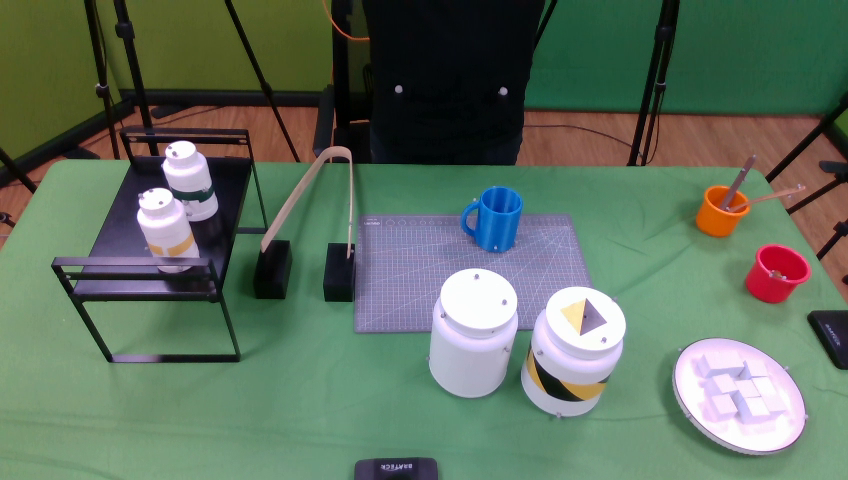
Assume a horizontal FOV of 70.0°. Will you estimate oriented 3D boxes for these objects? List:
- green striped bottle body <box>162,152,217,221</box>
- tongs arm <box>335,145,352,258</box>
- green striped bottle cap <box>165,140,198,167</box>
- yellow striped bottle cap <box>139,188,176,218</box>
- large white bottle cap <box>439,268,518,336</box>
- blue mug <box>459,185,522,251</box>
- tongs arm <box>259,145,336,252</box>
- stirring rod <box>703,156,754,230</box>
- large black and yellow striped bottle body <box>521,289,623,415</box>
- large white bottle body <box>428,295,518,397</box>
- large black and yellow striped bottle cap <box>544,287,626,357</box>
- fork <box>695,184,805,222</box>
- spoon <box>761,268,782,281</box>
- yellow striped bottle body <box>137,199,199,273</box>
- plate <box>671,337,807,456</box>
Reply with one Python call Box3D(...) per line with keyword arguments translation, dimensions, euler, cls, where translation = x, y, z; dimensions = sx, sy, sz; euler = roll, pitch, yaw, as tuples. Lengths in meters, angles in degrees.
Box3D(translation=(-0.363, -0.092, 0.939), dimensions=(0.063, 0.120, 0.063), euler=(2, 46, -2), cls="green striped bottle body")
Box3D(translation=(-0.169, -0.092, 1.234), dimensions=(0.051, 0.026, 0.382), euler=(0, 37, -3), cls="tongs arm")
Box3D(translation=(-0.361, -0.129, 0.902), dimensions=(0.044, 0.020, 0.044), euler=(3, 48, -3), cls="green striped bottle cap")
Box3D(translation=(-0.363, -0.051, 0.826), dimensions=(0.044, 0.019, 0.044), euler=(1, 47, -1), cls="yellow striped bottle cap")
Box3D(translation=(0.080, 0.089, 0.888), dimensions=(0.115, 0.018, 0.114), euler=(2, 47, -2), cls="large white bottle cap")
Box3D(translation=(0.127, -0.042, 1.185), dimensions=(0.116, 0.106, 0.082), euler=(0, 47, -4), cls="blue mug")
Box3D(translation=(-0.252, -0.098, 1.233), dimensions=(0.028, 0.028, 0.385), euler=(5, 36, 10), cls="tongs arm")
Box3D(translation=(0.631, -0.098, 1.258), dimensions=(0.014, 0.006, 0.176), euler=(33, 95, 29), cls="stirring rod")
Box3D(translation=(0.228, 0.173, 0.938), dimensions=(0.131, 0.185, 0.130), euler=(2, 47, -2), cls="large black and yellow striped bottle body")
Box3D(translation=(0.076, 0.147, 0.950), dimensions=(0.131, 0.185, 0.130), euler=(2, 46, -2), cls="large white bottle body")
Box3D(translation=(0.232, 0.116, 0.876), dimensions=(0.115, 0.019, 0.114), euler=(1, 45, -1), cls="large black and yellow striped bottle cap")
Box3D(translation=(0.657, -0.075, 1.230), dimensions=(0.207, 0.019, 0.028), euler=(-23, 34, 37), cls="fork")
Box3D(translation=(0.638, 0.060, 1.105), dimensions=(0.041, 0.021, 0.194), euler=(38, 11, 24), cls="spoon")
Box3D(translation=(-0.366, -0.014, 0.864), dimensions=(0.063, 0.121, 0.062), euler=(2, 46, -2), cls="yellow striped bottle body")
Box3D(translation=(0.503, 0.254, 0.984), dimensions=(0.208, 0.039, 0.206), euler=(2, 46, -2), cls="plate")
